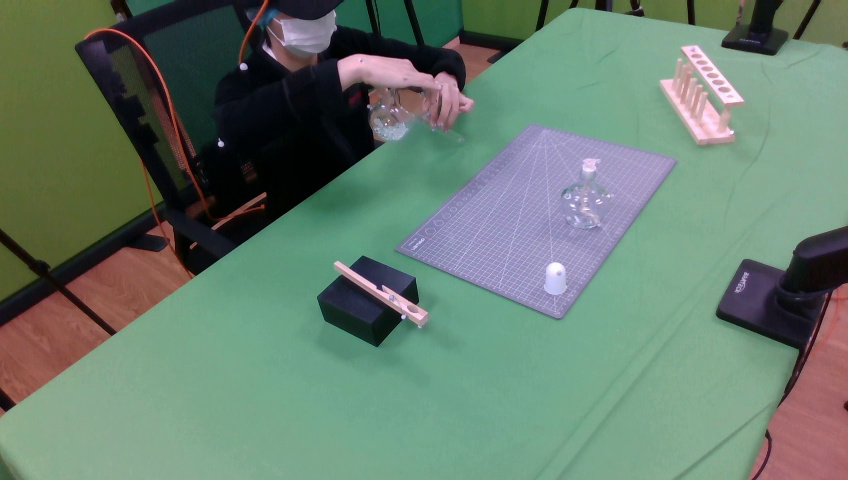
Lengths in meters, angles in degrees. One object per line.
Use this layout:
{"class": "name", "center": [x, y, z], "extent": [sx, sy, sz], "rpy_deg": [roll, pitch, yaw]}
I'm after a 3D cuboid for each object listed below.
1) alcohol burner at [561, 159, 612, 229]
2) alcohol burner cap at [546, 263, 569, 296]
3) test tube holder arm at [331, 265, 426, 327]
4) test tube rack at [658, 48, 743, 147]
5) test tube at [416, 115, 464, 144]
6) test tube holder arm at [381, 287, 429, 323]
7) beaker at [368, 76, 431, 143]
{"class": "alcohol burner", "center": [0.257, -0.077, 0.951], "extent": [0.078, 0.119, 0.077], "rpy_deg": [-3, 40, 3]}
{"class": "alcohol burner cap", "center": [0.191, 0.053, 0.862], "extent": [0.034, 0.048, 0.033], "rpy_deg": [-5, 40, 4]}
{"class": "test tube holder arm", "center": [-0.066, 0.074, 0.828], "extent": [0.177, 0.015, 0.013], "rpy_deg": [25, 42, 33]}
{"class": "test tube rack", "center": [0.532, -0.284, 1.181], "extent": [0.067, 0.085, 0.241], "rpy_deg": [-5, 40, 4]}
{"class": "test tube", "center": [0.032, -0.202, 1.114], "extent": [0.017, 0.017, 0.151], "rpy_deg": [25, 7, 34]}
{"class": "test tube holder arm", "center": [-0.028, 0.087, 0.807], "extent": [0.087, 0.015, 0.010], "rpy_deg": [25, 42, 33]}
{"class": "beaker", "center": [-0.041, -0.211, 1.002], "extent": [0.073, 0.084, 0.100], "rpy_deg": [1, 39, 33]}
